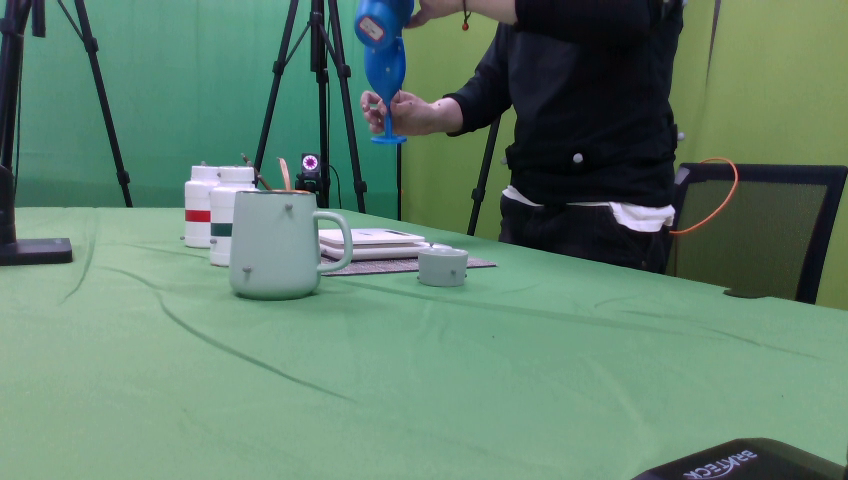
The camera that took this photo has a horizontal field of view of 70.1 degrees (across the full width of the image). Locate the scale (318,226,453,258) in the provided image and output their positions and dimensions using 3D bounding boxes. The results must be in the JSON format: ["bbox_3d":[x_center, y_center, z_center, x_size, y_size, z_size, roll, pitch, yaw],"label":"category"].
[{"bbox_3d":[-0.066,0.001,0.906,0.202,0.031,0.148,-2,8,-31],"label":"scale"}]

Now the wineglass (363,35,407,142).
[{"bbox_3d":[-0.065,-0.260,1.036,0.074,0.172,0.073,-2,19,1],"label":"wineglass"}]

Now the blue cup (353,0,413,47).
[{"bbox_3d":[-0.068,-0.352,0.938,0.092,0.093,0.100,3,50,12],"label":"blue cup"}]

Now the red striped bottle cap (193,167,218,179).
[{"bbox_3d":[-0.329,-0.103,0.921,0.044,0.017,0.044,-1,9,0],"label":"red striped bottle cap"}]

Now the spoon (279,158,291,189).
[{"bbox_3d":[-0.280,-0.103,1.251,0.042,0.193,0.021,8,-41,-31],"label":"spoon"}]

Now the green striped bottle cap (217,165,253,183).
[{"bbox_3d":[-0.242,-0.085,0.777,0.044,0.020,0.044,2,9,0],"label":"green striped bottle cap"}]

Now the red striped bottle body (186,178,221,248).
[{"bbox_3d":[-0.331,-0.050,0.927,0.063,0.119,0.063,2,6,0],"label":"red striped bottle body"}]

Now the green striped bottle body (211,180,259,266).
[{"bbox_3d":[-0.243,-0.029,0.784,0.063,0.119,0.063,2,7,0],"label":"green striped bottle body"}]

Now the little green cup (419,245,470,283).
[{"bbox_3d":[0.023,0.028,0.712,0.061,0.038,0.061,2,6,0],"label":"little green cup"}]

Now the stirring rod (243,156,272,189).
[{"bbox_3d":[-0.304,-0.099,1.201,0.006,0.177,0.014,-27,37,7],"label":"stirring rod"}]

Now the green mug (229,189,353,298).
[{"bbox_3d":[-0.135,0.002,0.618,0.125,0.105,0.092,2,7,4],"label":"green mug"}]
